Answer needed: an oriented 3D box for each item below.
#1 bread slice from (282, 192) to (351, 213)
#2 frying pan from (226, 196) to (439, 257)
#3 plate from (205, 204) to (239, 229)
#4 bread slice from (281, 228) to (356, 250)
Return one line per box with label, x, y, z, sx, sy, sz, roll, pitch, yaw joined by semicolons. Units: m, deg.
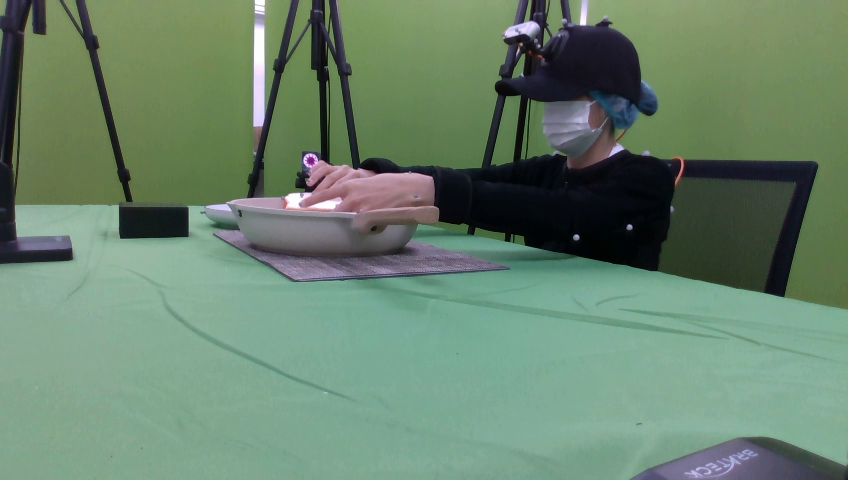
bread slice;-0.168;-0.050;0.934;0.105;0.019;0.131;2;19;-17
frying pan;-0.103;-0.027;0.845;0.308;0.102;0.486;-2;0;-25
plate;-0.324;-0.046;1.199;0.208;0.039;0.207;3;7;0
bread slice;-0.169;-0.004;0.943;0.107;0.018;0.134;2;8;-15
